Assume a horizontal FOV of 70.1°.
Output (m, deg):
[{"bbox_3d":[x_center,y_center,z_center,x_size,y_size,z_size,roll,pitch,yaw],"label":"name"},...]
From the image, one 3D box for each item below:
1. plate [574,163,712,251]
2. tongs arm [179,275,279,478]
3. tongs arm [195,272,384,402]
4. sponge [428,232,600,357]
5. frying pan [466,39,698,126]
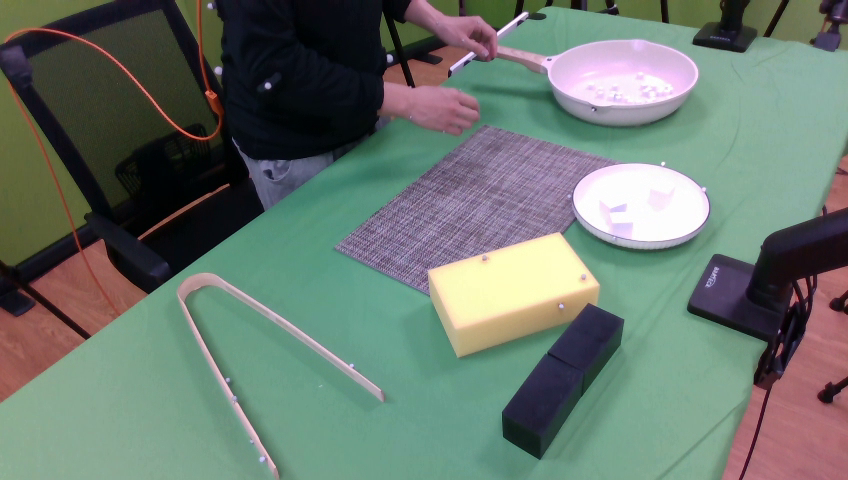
[{"bbox_3d":[0.345,-0.050,0.966,0.207,0.039,0.206,-4,40,4],"label":"plate"},{"bbox_3d":[-0.260,0.161,0.807,0.051,0.026,0.381,-29,44,-25],"label":"tongs arm"},{"bbox_3d":[-0.198,0.125,0.846,0.384,0.028,0.028,25,53,32],"label":"tongs arm"},{"bbox_3d":[0.120,0.071,0.834,0.207,0.061,0.117,-15,43,-12],"label":"sponge"},{"bbox_3d":[0.312,-0.359,1.277,0.485,0.103,0.307,23,47,19],"label":"frying pan"}]
